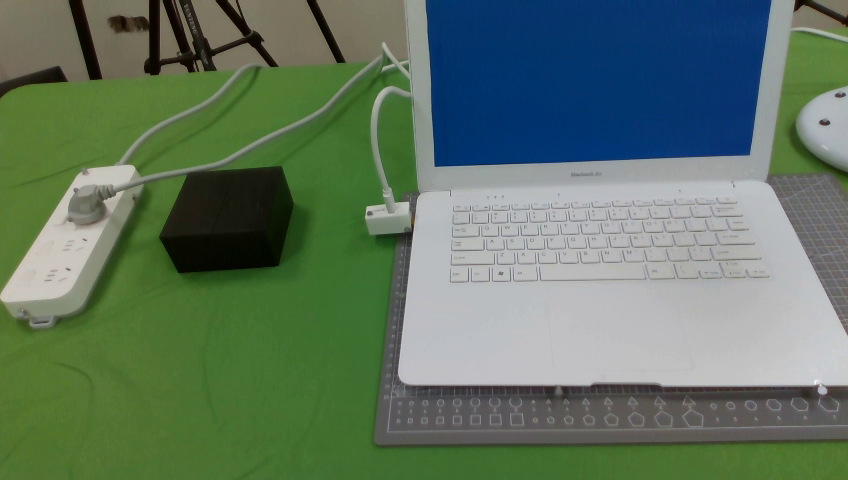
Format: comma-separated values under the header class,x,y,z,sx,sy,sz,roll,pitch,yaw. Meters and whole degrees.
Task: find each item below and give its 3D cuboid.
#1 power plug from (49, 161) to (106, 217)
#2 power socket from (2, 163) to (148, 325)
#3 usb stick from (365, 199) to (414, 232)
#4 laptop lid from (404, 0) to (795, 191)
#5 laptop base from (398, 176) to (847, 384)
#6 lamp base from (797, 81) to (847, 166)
class,x,y,z,sx,sy,sz,roll,pitch,yaw
power plug,-0.353,-0.057,0.618,0.053,0.073,0.035,11,27,-16
power socket,-0.360,-0.008,0.640,0.072,0.033,0.224,-3,43,2
usb stick,-0.027,-0.025,0.608,0.059,0.027,0.021,-3,43,5
laptop lid,0.160,-0.161,0.581,0.356,0.243,0.013,-3,23,6
laptop base,0.161,0.029,0.544,0.354,0.023,0.233,-1,47,6
lamp base,0.490,-0.183,0.605,0.159,0.182,0.179,24,50,29
